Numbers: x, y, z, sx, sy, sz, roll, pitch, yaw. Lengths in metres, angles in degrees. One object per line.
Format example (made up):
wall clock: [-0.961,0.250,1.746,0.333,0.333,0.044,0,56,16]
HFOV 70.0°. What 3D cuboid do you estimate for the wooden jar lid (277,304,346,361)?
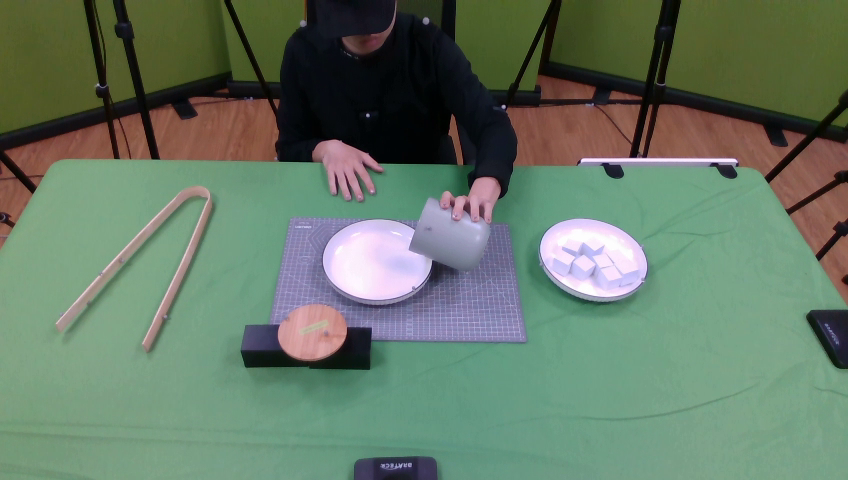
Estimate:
wooden jar lid: [-0.179,0.150,0.972,0.108,0.021,0.107,2,45,-2]

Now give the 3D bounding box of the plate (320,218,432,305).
plate: [-0.089,0.044,1.134,0.209,0.038,0.208,3,46,-2]

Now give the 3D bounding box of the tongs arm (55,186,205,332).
tongs arm: [-0.530,0.022,1.125,0.051,0.026,0.383,15,46,8]

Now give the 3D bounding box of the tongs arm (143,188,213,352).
tongs arm: [-0.449,0.040,1.122,0.028,0.028,0.385,2,46,1]

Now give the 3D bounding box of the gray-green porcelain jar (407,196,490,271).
gray-green porcelain jar: [0.047,-0.008,1.090,0.126,0.106,0.105,21,47,0]

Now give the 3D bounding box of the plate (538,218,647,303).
plate: [0.322,0.043,1.171,0.208,0.039,0.206,2,46,-2]
